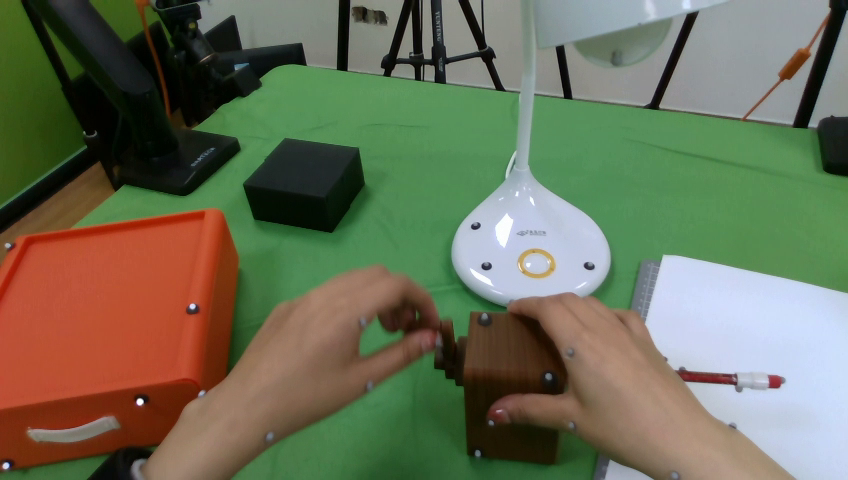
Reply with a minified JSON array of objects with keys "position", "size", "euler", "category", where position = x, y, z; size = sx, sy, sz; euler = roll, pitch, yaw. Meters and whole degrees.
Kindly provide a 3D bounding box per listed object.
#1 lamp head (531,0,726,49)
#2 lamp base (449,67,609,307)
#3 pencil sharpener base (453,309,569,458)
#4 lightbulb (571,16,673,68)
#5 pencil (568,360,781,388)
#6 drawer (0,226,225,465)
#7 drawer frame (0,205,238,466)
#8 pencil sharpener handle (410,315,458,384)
[{"position":[0.106,-0.180,0.344],"size":[0.112,0.123,0.112],"euler":[-15,11,3],"category":"lamp head"},{"position":[0.099,-0.058,0.576],"size":[0.161,0.182,0.177],"euler":[-8,39,-5],"category":"lamp base"},{"position":[0.062,0.106,0.445],"size":[0.076,0.108,0.061],"euler":[2,42,8],"category":"pencil sharpener base"},{"position":[0.111,-0.154,0.345],"size":[0.059,0.108,0.059],"euler":[-5,17,2],"category":"lightbulb"},{"position":[0.141,0.090,0.417],"size":[0.194,0.012,0.012],"euler":[3,41,8],"category":"pencil"},{"position":[-0.275,0.076,0.529],"size":[0.195,0.074,0.209],"euler":[-9,40,-4],"category":"drawer"},{"position":[-0.278,0.074,0.530],"size":[0.202,0.083,0.211],"euler":[-10,40,-5],"category":"drawer frame"},{"position":[0.008,0.073,0.421],"size":[0.030,0.068,0.035],"euler":[2,49,8],"category":"pencil sharpener handle"}]
